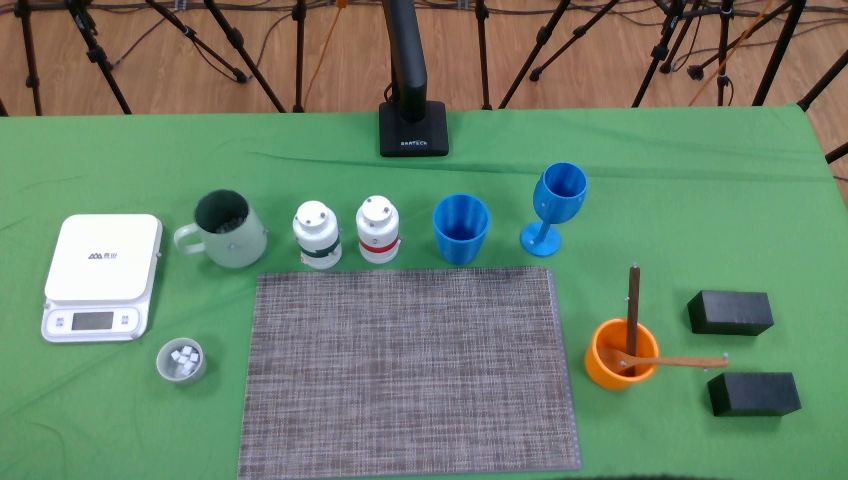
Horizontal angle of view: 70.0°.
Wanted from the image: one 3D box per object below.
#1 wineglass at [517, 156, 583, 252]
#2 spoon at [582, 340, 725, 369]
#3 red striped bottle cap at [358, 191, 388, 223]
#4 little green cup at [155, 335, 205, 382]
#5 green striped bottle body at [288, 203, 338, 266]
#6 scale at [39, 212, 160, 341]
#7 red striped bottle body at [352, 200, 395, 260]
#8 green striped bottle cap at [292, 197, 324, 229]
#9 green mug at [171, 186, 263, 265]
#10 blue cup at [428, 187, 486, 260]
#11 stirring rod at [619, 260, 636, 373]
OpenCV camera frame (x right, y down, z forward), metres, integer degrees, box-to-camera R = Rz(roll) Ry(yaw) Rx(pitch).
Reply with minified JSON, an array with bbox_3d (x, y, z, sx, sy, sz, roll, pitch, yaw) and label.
[{"bbox_3d":[0.185,-0.050,0.907,0.074,0.173,0.073,1,62,-1],"label":"wineglass"},{"bbox_3d":[0.304,0.156,0.821,0.022,0.193,0.041,29,64,-37],"label":"spoon"},{"bbox_3d":[-0.073,-0.048,0.864,0.044,0.018,0.044,1,65,-2],"label":"red striped bottle cap"},{"bbox_3d":[-0.336,0.167,0.844,0.061,0.039,0.061,2,62,-3],"label":"little green cup"},{"bbox_3d":[-0.165,-0.014,0.902,0.063,0.120,0.062,1,62,-2],"label":"green striped bottle body"},{"bbox_3d":[-0.481,0.049,0.902,0.149,0.032,0.199,-1,63,-3],"label":"scale"},{"bbox_3d":[-0.076,-0.023,0.911,0.063,0.120,0.062,2,62,-3],"label":"red striped bottle body"},{"bbox_3d":[-0.164,-0.039,0.856,0.044,0.020,0.044,1,62,-2],"label":"green striped bottle cap"},{"bbox_3d":[-0.310,-0.014,0.904,0.125,0.105,0.091,-21,66,-13],"label":"green mug"},{"bbox_3d":[0.049,-0.017,0.925,0.092,0.101,0.092,0,63,0],"label":"blue cup"},{"bbox_3d":[0.283,0.110,0.844,0.014,0.177,0.006,1,21,12],"label":"stirring rod"}]
